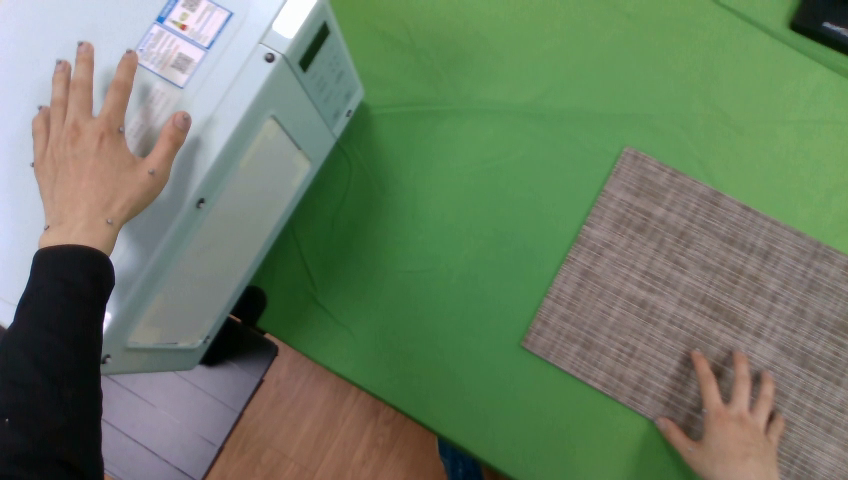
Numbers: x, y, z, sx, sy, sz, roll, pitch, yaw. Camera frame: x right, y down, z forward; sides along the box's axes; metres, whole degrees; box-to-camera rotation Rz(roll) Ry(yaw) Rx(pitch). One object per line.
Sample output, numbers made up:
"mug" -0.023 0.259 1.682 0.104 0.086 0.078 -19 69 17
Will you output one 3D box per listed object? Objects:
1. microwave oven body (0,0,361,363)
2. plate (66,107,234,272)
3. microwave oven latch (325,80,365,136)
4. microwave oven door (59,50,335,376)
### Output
"microwave oven body" -0.333 -0.118 0.713 0.325 0.261 0.441 30 84 8
"plate" -0.338 -0.062 0.762 0.209 0.038 0.208 0 83 2
"microwave oven latch" -0.110 -0.180 0.808 0.030 0.029 0.079 32 84 8
"microwave oven door" -0.229 -0.012 0.684 0.039 0.245 0.355 29 83 9
